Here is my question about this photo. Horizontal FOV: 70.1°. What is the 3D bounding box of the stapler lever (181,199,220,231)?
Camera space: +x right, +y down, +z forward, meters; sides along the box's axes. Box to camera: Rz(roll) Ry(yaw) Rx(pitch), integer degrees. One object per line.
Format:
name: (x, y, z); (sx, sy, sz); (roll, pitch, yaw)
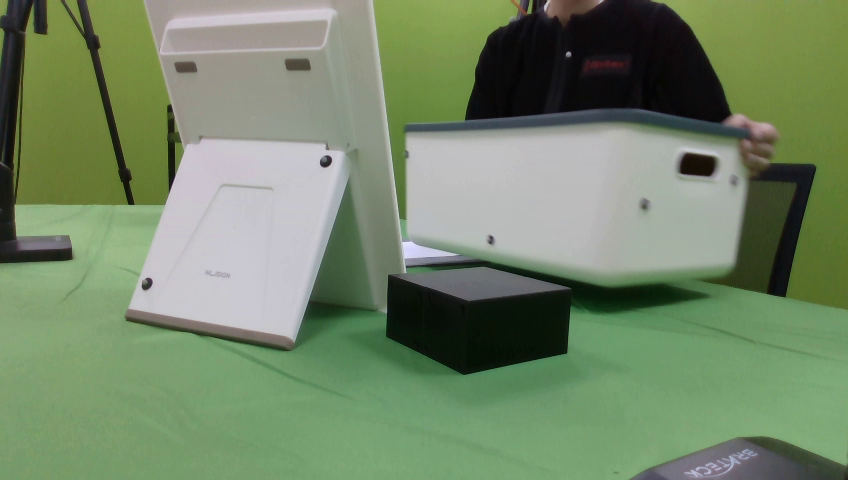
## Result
stapler lever: (-0.346, -0.040, 0.942); (0.027, 0.040, 0.118); (1, 8, -3)

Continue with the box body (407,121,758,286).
box body: (0.169, -0.054, 0.750); (0.255, 0.160, 0.362); (-1, 7, -37)

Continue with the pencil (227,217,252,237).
pencil: (-0.333, -0.024, 1.092); (0.012, 0.012, 0.193); (2, 10, -5)

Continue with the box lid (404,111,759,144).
box lid: (0.175, -0.128, 0.741); (0.265, 0.015, 0.369); (-2, 7, -37)

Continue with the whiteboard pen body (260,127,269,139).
whiteboard pen body: (-0.366, -0.247, 1.392); (0.017, 0.017, 0.140); (0, 3, -17)

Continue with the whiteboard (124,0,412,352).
whiteboard: (-0.151, -0.049, 0.472); (0.216, 0.305, 0.144); (6, 27, 24)

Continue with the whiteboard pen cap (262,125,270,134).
whiteboard pen cap: (-0.349, -0.244, 1.337); (0.018, 0.018, 0.033); (0, 2, -17)

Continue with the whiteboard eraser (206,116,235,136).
whiteboard eraser: (-0.450, -0.252, 1.335); (0.056, 0.042, 0.112); (1, 7, -22)

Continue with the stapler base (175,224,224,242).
stapler base: (-0.348, -0.014, 0.947); (0.041, 0.024, 0.130); (1, 7, -3)
